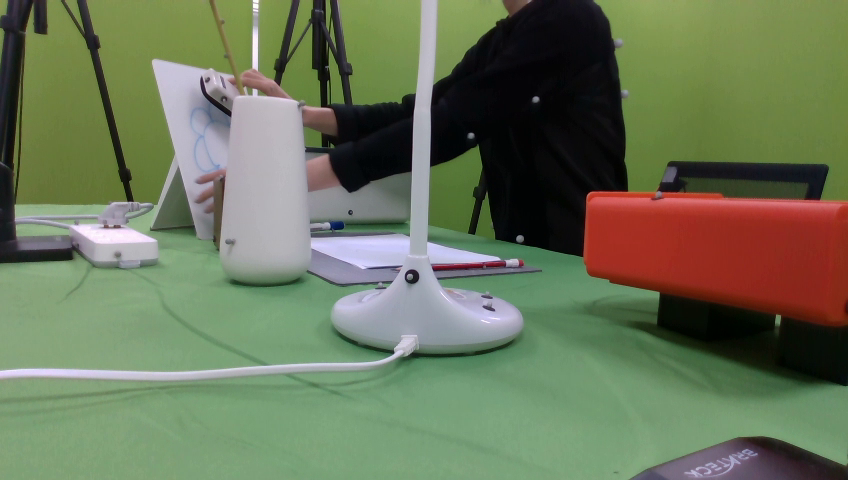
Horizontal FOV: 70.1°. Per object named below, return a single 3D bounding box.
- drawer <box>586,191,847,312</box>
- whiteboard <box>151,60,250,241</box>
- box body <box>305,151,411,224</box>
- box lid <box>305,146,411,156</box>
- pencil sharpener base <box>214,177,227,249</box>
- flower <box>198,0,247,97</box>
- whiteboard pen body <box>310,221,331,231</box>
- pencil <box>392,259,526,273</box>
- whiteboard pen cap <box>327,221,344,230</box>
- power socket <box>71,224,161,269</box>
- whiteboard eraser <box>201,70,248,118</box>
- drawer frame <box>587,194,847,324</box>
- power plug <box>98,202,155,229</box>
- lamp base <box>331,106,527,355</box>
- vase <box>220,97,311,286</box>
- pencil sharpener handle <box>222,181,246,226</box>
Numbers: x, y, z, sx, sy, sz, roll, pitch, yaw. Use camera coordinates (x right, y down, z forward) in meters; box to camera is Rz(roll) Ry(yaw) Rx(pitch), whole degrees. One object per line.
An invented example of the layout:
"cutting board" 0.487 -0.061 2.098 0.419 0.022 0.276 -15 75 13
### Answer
"drawer" 0.281 0.001 0.512 0.195 0.073 0.210 -1 8 -29
"whiteboard" -0.408 -0.139 1.093 0.143 0.305 0.218 -15 -1 26
"box body" -0.230 -0.126 1.371 0.366 0.160 0.253 -2 8 -33
"box lid" -0.229 -0.200 1.360 0.373 0.015 0.262 -3 9 -32
"pencil sharpener base" -0.265 -0.037 0.870 0.061 0.107 0.076 -2 8 -29
"flower" -0.187 -0.133 0.648 0.038 0.362 0.044 -1 22 43
"whiteboard pen body" -0.209 -0.023 1.083 0.017 0.017 0.141 9 12 39
"pencil" 0.049 0.035 0.782 0.195 0.012 0.012 -3 9 -24
"whiteboard pen cap" -0.166 -0.027 1.124 0.018 0.018 0.033 9 10 40
"power socket" -0.409 0.004 0.793 0.072 0.032 0.225 -2 8 -38
"whiteboard eraser" -0.337 -0.243 1.054 0.042 0.055 0.113 -36 -34 12
"drawer frame" 0.285 0.004 0.508 0.203 0.082 0.212 -1 6 -29
"power plug" -0.416 -0.026 0.848 0.073 0.052 0.035 0 8 -28
"lamp base" 0.006 -0.012 0.478 0.161 0.180 0.179 2 10 2
"vase" -0.172 -0.052 0.662 0.098 0.200 0.098 3 8 0
"pencil sharpener handle" -0.290 -0.055 0.912 0.036 0.067 0.030 -2 8 -29
